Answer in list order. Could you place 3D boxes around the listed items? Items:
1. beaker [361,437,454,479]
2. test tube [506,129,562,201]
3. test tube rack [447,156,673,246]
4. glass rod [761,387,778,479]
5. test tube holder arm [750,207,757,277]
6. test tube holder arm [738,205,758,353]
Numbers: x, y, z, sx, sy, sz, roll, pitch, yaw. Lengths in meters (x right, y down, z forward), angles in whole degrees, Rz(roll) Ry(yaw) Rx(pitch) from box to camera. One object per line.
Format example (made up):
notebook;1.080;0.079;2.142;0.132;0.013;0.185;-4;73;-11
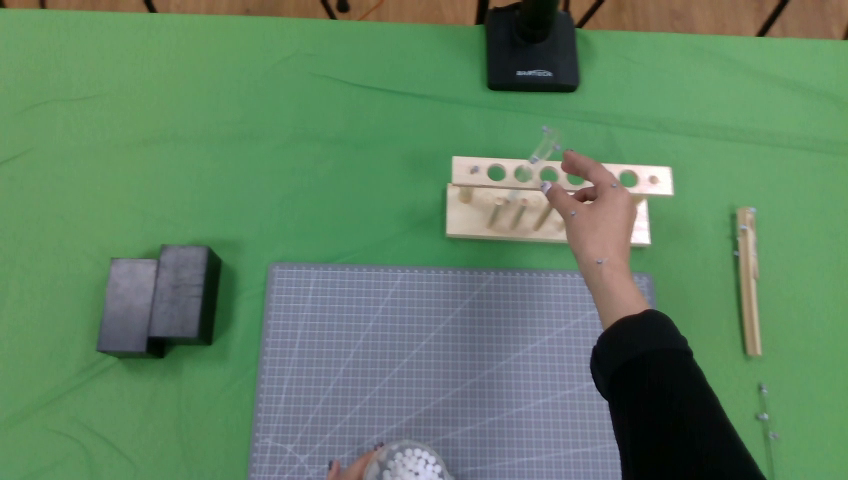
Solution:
beaker;-0.011;0.225;0.568;0.084;0.101;0.073;5;71;4
test tube;0.116;-0.076;0.656;0.017;0.151;0.017;3;70;-8
test tube rack;0.151;-0.043;0.699;0.242;0.085;0.066;3;71;-2
glass rod;0.378;0.259;0.651;0.008;0.008;0.198;3;72;-2
test tube holder arm;0.392;0.003;0.731;0.010;0.015;0.087;18;69;-28
test tube holder arm;0.382;0.044;0.714;0.013;0.015;0.177;18;70;-29
